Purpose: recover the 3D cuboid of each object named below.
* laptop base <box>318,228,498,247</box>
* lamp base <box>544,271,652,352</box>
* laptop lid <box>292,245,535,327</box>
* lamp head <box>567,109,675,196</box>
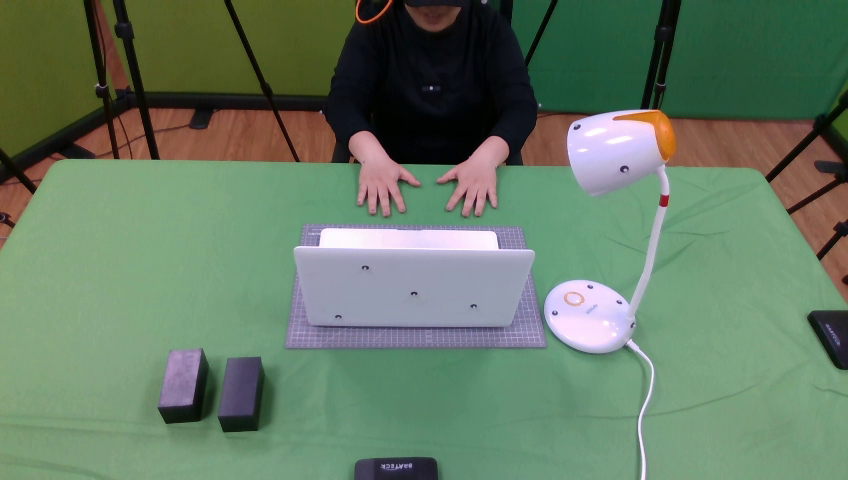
[{"bbox_3d":[-0.028,0.066,1.135,0.355,0.023,0.234,1,43,-4],"label":"laptop base"},{"bbox_3d":[0.310,0.086,1.029,0.178,0.181,0.160,32,52,21],"label":"lamp base"},{"bbox_3d":[-0.018,0.080,0.956,0.357,0.243,0.013,2,54,-5],"label":"laptop lid"},{"bbox_3d":[0.272,-0.123,0.818,0.122,0.113,0.112,-9,35,37],"label":"lamp head"}]
